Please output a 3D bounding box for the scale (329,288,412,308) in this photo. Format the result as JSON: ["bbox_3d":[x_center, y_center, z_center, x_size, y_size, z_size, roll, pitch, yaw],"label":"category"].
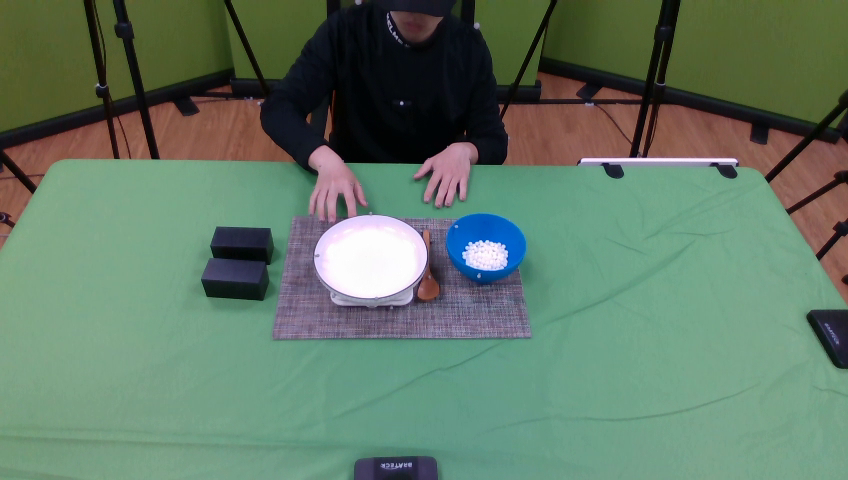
[{"bbox_3d":[-0.099,0.042,1.139,0.149,0.032,0.199,0,46,-4],"label":"scale"}]

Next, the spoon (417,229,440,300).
[{"bbox_3d":[0.006,0.043,1.152,0.041,0.022,0.192,-8,45,6],"label":"spoon"}]

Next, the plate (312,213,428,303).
[{"bbox_3d":[-0.097,0.036,1.100,0.209,0.038,0.208,2,46,-2],"label":"plate"}]

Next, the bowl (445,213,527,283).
[{"bbox_3d":[0.112,0.027,1.136,0.151,0.077,0.150,2,46,-2],"label":"bowl"}]
